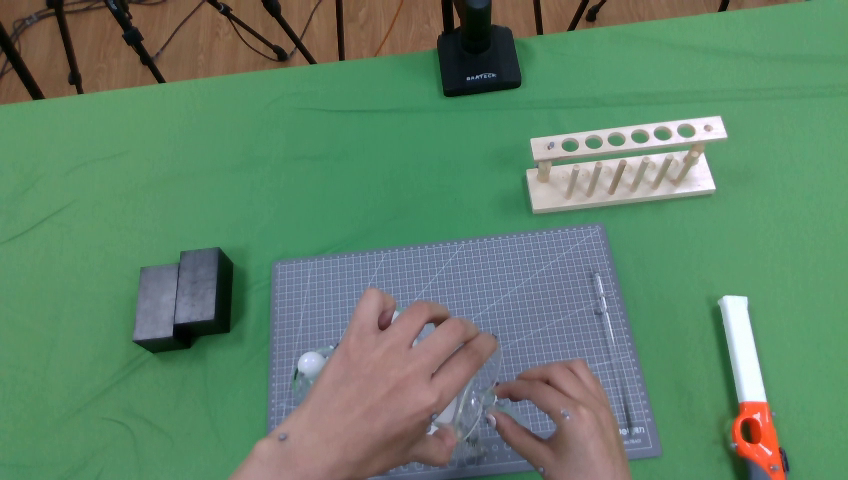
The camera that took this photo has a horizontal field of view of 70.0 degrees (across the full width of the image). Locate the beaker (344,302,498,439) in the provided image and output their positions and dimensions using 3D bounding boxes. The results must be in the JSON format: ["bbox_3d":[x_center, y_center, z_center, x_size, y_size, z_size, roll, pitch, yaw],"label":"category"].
[{"bbox_3d":[-0.003,0.096,0.465,0.099,0.084,0.074,22,78,22],"label":"beaker"}]

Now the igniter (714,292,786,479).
[{"bbox_3d":[0.367,0.190,0.684,0.057,0.025,0.274,4,64,-4],"label":"igniter"}]

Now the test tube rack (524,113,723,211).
[{"bbox_3d":[0.259,-0.101,0.801,0.242,0.086,0.066,-7,63,2],"label":"test tube rack"}]

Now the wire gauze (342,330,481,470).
[{"bbox_3d":[-0.016,0.154,0.594,0.125,0.011,0.120,-9,62,0],"label":"wire gauze"}]

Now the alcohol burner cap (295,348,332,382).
[{"bbox_3d":[-0.122,0.135,0.659,0.034,0.048,0.033,-3,69,8],"label":"alcohol burner cap"}]

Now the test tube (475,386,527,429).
[{"bbox_3d":[0.072,0.154,0.548,0.017,0.152,0.017,-8,63,18],"label":"test tube"}]

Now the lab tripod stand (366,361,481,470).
[{"bbox_3d":[-0.009,0.187,0.653,0.148,0.132,0.147,-3,63,6],"label":"lab tripod stand"}]

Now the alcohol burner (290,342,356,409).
[{"bbox_3d":[-0.119,0.150,0.691,0.078,0.120,0.077,-2,62,4],"label":"alcohol burner"}]

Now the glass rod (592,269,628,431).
[{"bbox_3d":[0.224,0.128,0.732,0.008,0.008,0.198,-5,67,2],"label":"glass rod"}]
